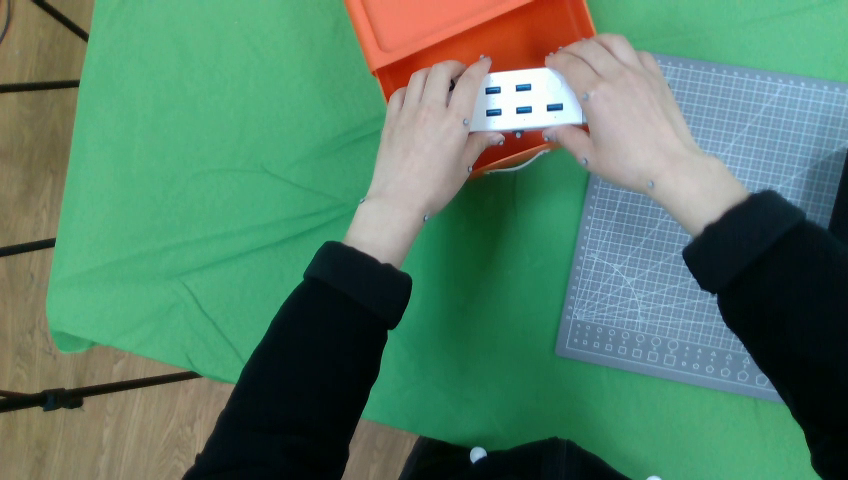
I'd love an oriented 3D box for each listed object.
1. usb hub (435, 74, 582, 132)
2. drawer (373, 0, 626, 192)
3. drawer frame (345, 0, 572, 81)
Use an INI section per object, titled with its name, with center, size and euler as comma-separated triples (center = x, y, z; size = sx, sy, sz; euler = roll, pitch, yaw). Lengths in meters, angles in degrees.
[usb hub]
center = 0.071, -0.119, 0.527
size = 0.125, 0.025, 0.049
euler = 2, 103, 4
[drawer]
center = 0.052, -0.171, 0.552
size = 0.194, 0.073, 0.212
euler = -19, 92, 9
[drawer frame]
center = 0.012, -0.282, 0.541
size = 0.201, 0.083, 0.213
euler = -21, 92, 9
